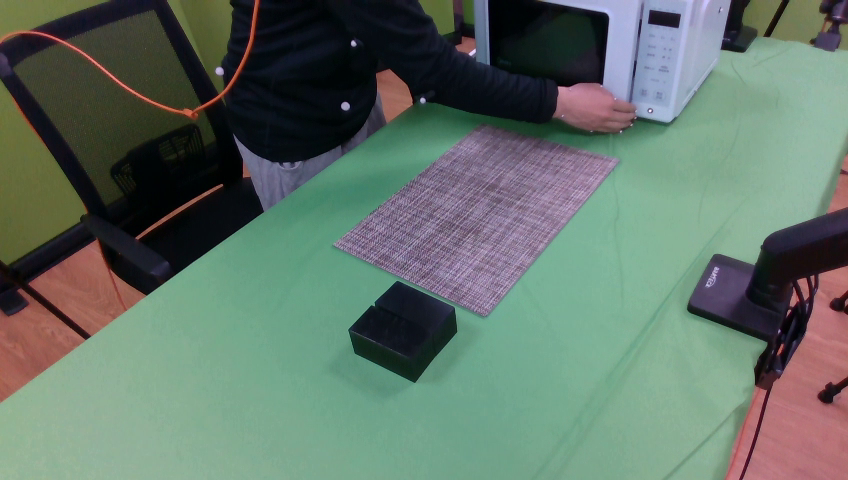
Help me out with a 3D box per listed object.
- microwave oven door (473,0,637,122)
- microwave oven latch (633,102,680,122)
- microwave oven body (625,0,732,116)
[{"bbox_3d":[0.248,-0.388,1.191,0.353,0.245,0.039,25,50,32],"label":"microwave oven door"},{"bbox_3d":[0.443,-0.249,1.157,0.078,0.029,0.030,22,49,30],"label":"microwave oven latch"},{"bbox_3d":[0.377,-0.463,1.267,0.438,0.261,0.327,21,49,30],"label":"microwave oven body"}]
